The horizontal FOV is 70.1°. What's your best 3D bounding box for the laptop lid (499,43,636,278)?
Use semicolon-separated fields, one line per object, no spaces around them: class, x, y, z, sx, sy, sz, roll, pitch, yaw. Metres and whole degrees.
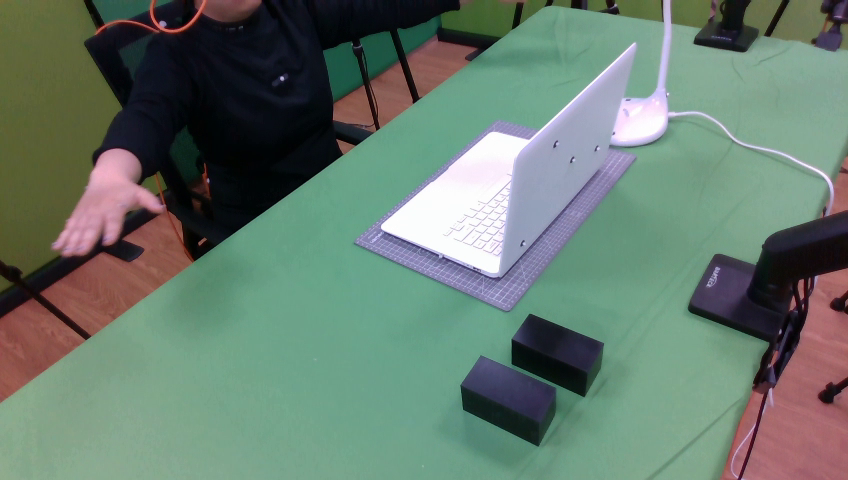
laptop lid;0.217;-0.122;0.898;0.013;0.242;0.358;28;50;25

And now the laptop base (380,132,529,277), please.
laptop base;0.122;-0.077;1.042;0.233;0.023;0.355;20;47;33

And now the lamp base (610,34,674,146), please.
lamp base;0.392;-0.291;1.129;0.180;0.181;0.159;-11;41;-8
